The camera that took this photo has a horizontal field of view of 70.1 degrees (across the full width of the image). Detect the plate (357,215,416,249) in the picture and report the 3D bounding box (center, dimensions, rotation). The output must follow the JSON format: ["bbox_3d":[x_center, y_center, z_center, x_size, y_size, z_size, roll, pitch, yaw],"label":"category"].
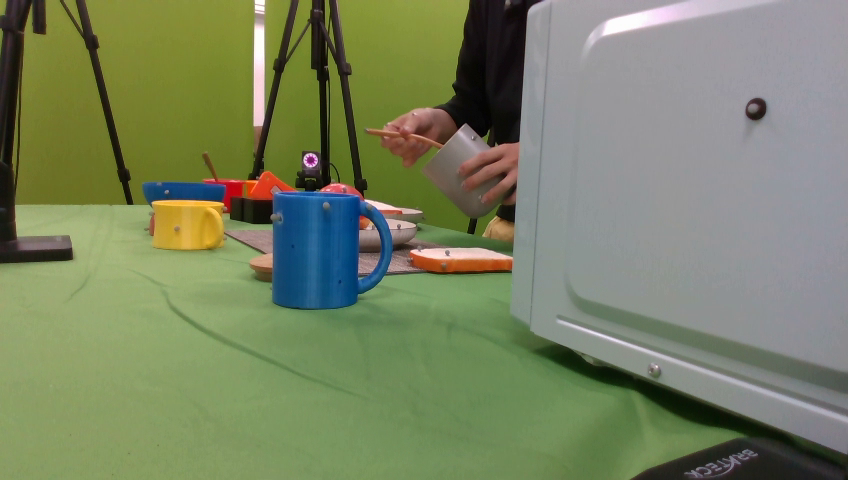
[{"bbox_3d":[-0.116,-0.014,0.967,0.208,0.039,0.207,2,7,0],"label":"plate"}]

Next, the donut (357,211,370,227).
[{"bbox_3d":[-0.132,-0.042,0.959,0.099,0.048,0.099,3,8,0],"label":"donut"}]

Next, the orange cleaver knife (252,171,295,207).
[{"bbox_3d":[-0.283,-0.087,1.343,0.212,0.077,0.012,24,-16,-41],"label":"orange cleaver knife"}]

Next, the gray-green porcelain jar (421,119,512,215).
[{"bbox_3d":[0.076,-0.111,0.966,0.126,0.106,0.106,43,6,-5],"label":"gray-green porcelain jar"}]

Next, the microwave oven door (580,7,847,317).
[{"bbox_3d":[0.295,-0.067,0.570,0.358,0.243,0.039,-3,9,-31],"label":"microwave oven door"}]

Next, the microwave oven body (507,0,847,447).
[{"bbox_3d":[0.331,-0.042,0.425,0.444,0.260,0.324,-2,8,-31],"label":"microwave oven body"}]

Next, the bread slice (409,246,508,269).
[{"bbox_3d":[0.047,0.022,0.816,0.132,0.019,0.104,0,7,-24],"label":"bread slice"}]

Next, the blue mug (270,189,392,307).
[{"bbox_3d":[-0.090,0.005,0.588,0.117,0.106,0.082,1,7,-11],"label":"blue mug"}]

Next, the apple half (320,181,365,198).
[{"bbox_3d":[-0.130,-0.077,0.952,0.081,0.033,0.081,4,14,-1],"label":"apple half"}]

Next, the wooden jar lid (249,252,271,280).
[{"bbox_3d":[-0.148,0.028,0.708,0.108,0.020,0.108,-1,10,0],"label":"wooden jar lid"}]

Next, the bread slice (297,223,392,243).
[{"bbox_3d":[-0.121,-0.013,0.970,0.106,0.018,0.135,10,11,41],"label":"bread slice"}]

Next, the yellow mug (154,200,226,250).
[{"bbox_3d":[-0.337,-0.022,0.899,0.130,0.064,0.100,8,9,34],"label":"yellow mug"}]

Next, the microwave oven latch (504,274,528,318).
[{"bbox_3d":[0.100,0.041,0.470,0.079,0.029,0.030,-1,7,-27],"label":"microwave oven latch"}]

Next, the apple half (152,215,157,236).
[{"bbox_3d":[-0.415,-0.034,1.017,0.081,0.053,0.074,1,10,-8],"label":"apple half"}]

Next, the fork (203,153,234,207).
[{"bbox_3d":[-0.480,-0.135,1.411,0.028,0.018,0.207,1,-34,0],"label":"fork"}]

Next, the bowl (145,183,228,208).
[{"bbox_3d":[-0.459,-0.069,1.175,0.151,0.077,0.151,3,7,0],"label":"bowl"}]

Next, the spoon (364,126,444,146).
[{"bbox_3d":[0.000,-0.161,0.959,0.194,0.021,0.041,14,5,4],"label":"spoon"}]

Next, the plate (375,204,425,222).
[{"bbox_3d":[-0.102,-0.053,1.299,0.209,0.038,0.209,2,8,0],"label":"plate"}]
